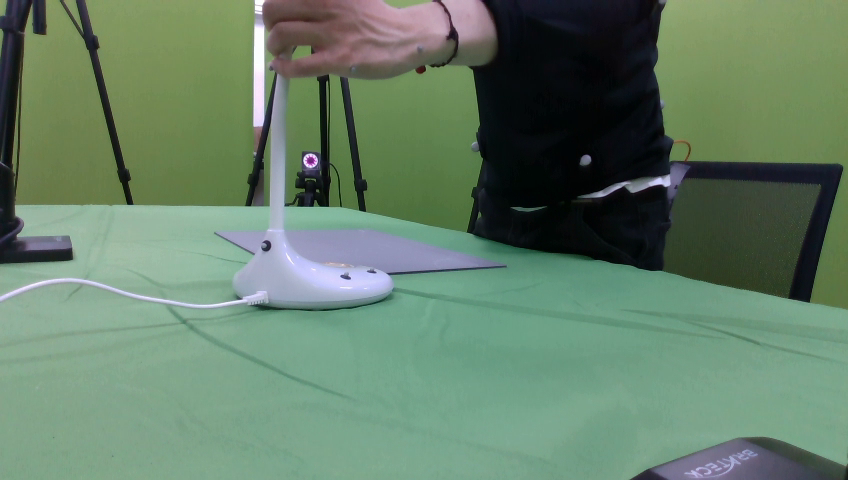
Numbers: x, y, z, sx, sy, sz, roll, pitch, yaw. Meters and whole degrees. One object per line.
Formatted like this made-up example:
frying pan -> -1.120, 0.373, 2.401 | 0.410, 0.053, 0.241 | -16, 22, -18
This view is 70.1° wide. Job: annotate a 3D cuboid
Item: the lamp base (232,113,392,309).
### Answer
lamp base -> -0.113, -0.031, 0.594 | 0.160, 0.180, 0.179 | 4, 10, 18
